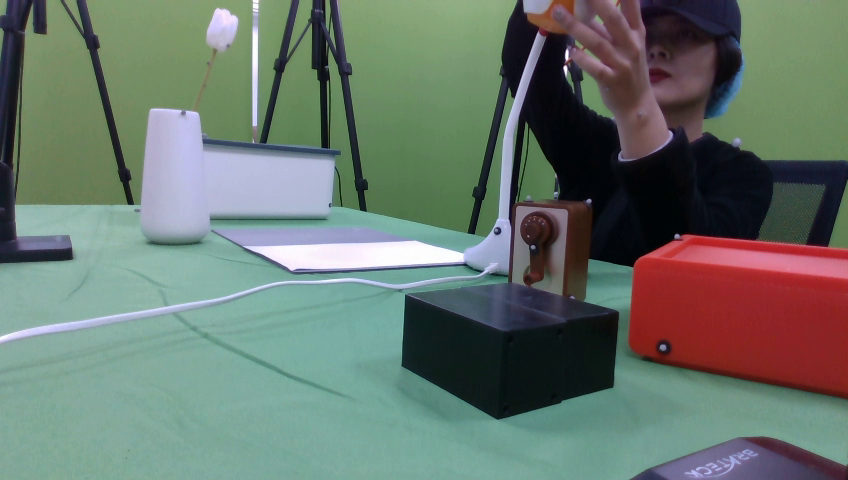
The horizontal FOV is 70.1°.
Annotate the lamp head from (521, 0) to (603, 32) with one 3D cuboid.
[{"bbox_3d":[0.148,-0.281,0.628,0.112,0.123,0.112,13,18,-4],"label":"lamp head"}]

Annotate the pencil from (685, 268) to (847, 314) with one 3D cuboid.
[{"bbox_3d":[0.308,0.045,0.516,0.194,0.012,0.012,13,5,-11],"label":"pencil"}]

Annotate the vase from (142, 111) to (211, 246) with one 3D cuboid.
[{"bbox_3d":[-0.378,-0.093,0.920,0.098,0.200,0.098,2,9,0],"label":"vase"}]

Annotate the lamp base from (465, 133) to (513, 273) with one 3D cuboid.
[{"bbox_3d":[0.132,-0.052,0.808,0.160,0.180,0.180,6,12,26],"label":"lamp base"}]

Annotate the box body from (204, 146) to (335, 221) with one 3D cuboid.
[{"bbox_3d":[-0.411,-0.135,1.386,0.366,0.160,0.253,-2,9,-29],"label":"box body"}]

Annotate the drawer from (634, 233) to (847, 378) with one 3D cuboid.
[{"bbox_3d":[0.292,0.044,0.488,0.193,0.073,0.213,7,9,30],"label":"drawer"}]

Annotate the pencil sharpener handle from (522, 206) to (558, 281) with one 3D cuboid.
[{"bbox_3d":[0.102,0.003,0.555,0.036,0.067,0.031,0,5,31],"label":"pencil sharpener handle"}]

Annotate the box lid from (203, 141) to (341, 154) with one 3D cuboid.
[{"bbox_3d":[-0.396,-0.212,1.373,0.373,0.015,0.262,-1,9,-29],"label":"box lid"}]

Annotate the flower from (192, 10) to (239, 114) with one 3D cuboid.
[{"bbox_3d":[-0.354,-0.174,0.915,0.038,0.361,0.044,18,-3,12],"label":"flower"}]

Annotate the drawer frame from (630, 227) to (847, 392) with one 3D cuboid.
[{"bbox_3d":[0.292,0.044,0.485,0.201,0.082,0.214,7,9,29],"label":"drawer frame"}]

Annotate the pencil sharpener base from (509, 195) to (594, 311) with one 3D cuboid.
[{"bbox_3d":[0.126,0.011,0.601,0.061,0.107,0.077,7,9,30],"label":"pencil sharpener base"}]
